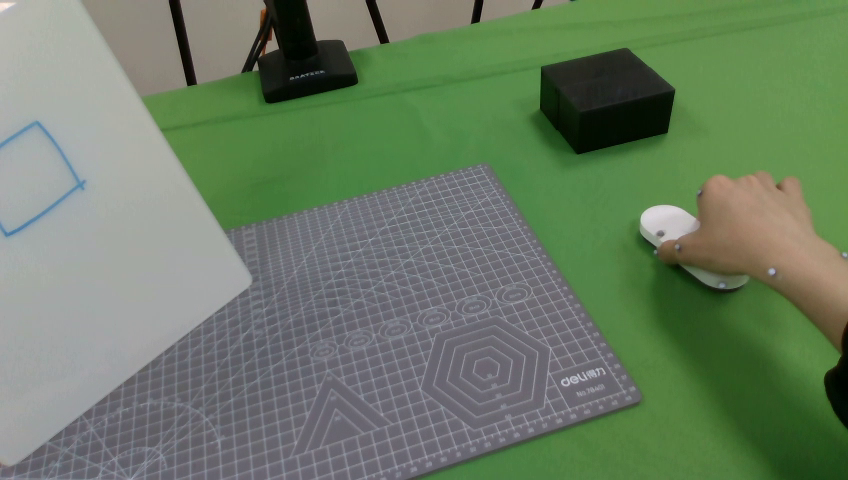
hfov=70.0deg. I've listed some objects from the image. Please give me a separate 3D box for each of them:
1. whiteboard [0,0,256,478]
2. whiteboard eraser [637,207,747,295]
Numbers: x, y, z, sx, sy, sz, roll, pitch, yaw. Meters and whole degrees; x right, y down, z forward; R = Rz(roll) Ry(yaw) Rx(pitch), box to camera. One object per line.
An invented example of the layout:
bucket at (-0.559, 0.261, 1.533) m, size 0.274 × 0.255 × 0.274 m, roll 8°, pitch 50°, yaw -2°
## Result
whiteboard at (-0.311, -0.032, 0.444) m, size 0.142 × 0.308 × 0.217 m, roll 11°, pitch 43°, yaw 47°
whiteboard eraser at (0.216, 0.006, 0.494) m, size 0.041 × 0.019 × 0.100 m, roll -23°, pitch 44°, yaw -15°
